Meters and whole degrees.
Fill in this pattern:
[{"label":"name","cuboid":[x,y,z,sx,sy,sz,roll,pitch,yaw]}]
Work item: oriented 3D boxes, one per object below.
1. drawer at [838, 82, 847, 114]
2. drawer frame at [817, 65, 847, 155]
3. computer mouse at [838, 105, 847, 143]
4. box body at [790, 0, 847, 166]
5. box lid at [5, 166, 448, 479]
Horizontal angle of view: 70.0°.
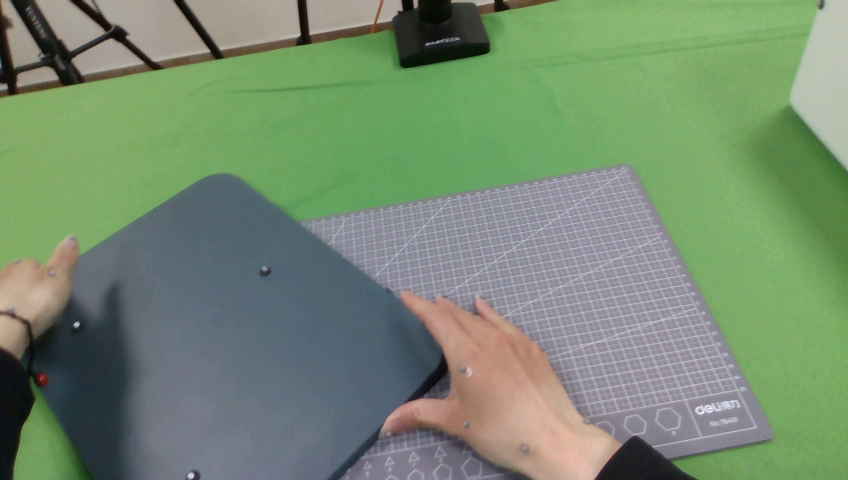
[{"label":"drawer","cuboid":[0.518,-0.100,0.520,0.212,0.074,0.192,-4,42,-16]},{"label":"drawer frame","cuboid":[0.509,-0.092,0.525,0.214,0.083,0.199,-13,49,-5]},{"label":"computer mouse","cuboid":[0.422,-0.092,0.516,0.116,0.041,0.063,36,59,25]},{"label":"box body","cuboid":[0.515,-0.102,0.488,0.254,0.162,0.360,-10,49,-1]},{"label":"box lid","cuboid":[-0.186,0.078,0.533,0.368,0.015,0.263,34,63,32]}]
